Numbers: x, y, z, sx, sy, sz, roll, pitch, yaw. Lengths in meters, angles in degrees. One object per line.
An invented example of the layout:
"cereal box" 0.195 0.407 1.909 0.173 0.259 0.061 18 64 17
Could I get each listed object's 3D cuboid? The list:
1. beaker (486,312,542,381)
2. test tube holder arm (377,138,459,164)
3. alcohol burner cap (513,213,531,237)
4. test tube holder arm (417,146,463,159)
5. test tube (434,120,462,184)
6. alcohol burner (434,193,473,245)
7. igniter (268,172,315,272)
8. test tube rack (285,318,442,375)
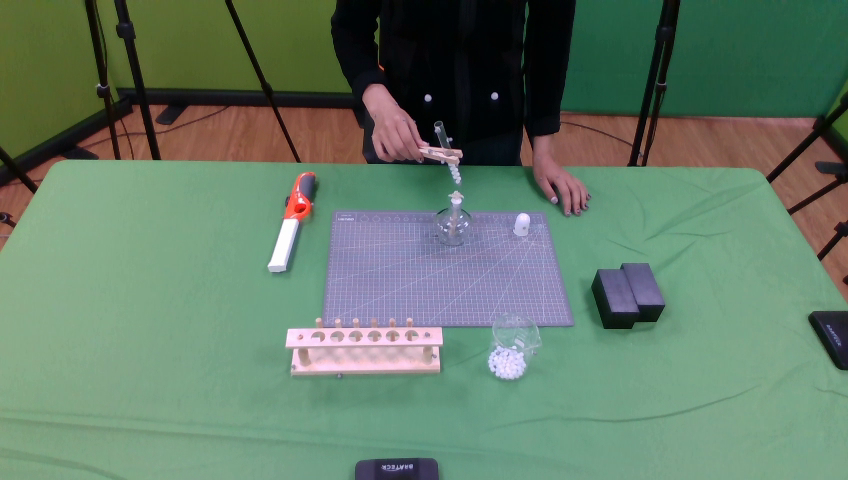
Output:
"beaker" 0.144 0.177 0.985 0.084 0.101 0.074 22 49 16
"test tube holder arm" -0.014 -0.163 1.098 0.177 0.015 0.013 17 58 30
"alcohol burner cap" 0.200 -0.034 1.227 0.034 0.048 0.033 1 46 -1
"test tube holder arm" 0.027 -0.157 1.079 0.087 0.015 0.010 10 56 25
"test tube" 0.044 -0.151 1.064 0.017 0.151 0.017 -10 51 13
"alcohol burner" 0.059 -0.047 1.180 0.078 0.120 0.077 1 48 -1
"igniter" -0.263 -0.045 1.219 0.057 0.025 0.275 -2 45 8
"test tube rack" -0.095 0.168 0.986 0.242 0.085 0.066 0 46 -4
